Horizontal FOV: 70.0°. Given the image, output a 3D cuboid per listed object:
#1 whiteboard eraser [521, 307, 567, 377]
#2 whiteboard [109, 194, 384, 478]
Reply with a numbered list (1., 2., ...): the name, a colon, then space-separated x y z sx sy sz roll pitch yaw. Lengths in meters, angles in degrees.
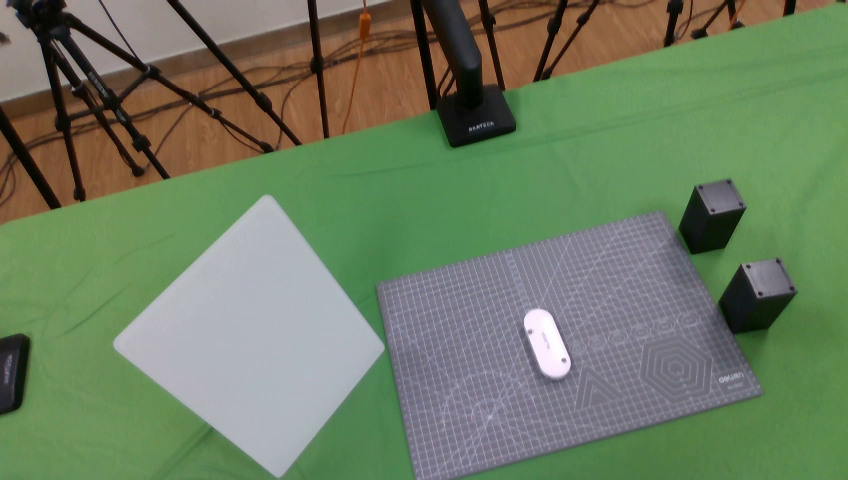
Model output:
1. whiteboard eraser: 0.161 0.136 0.819 0.041 0.019 0.100 -15 57 -3
2. whiteboard: -0.225 0.110 0.757 0.142 0.309 0.216 19 60 42
